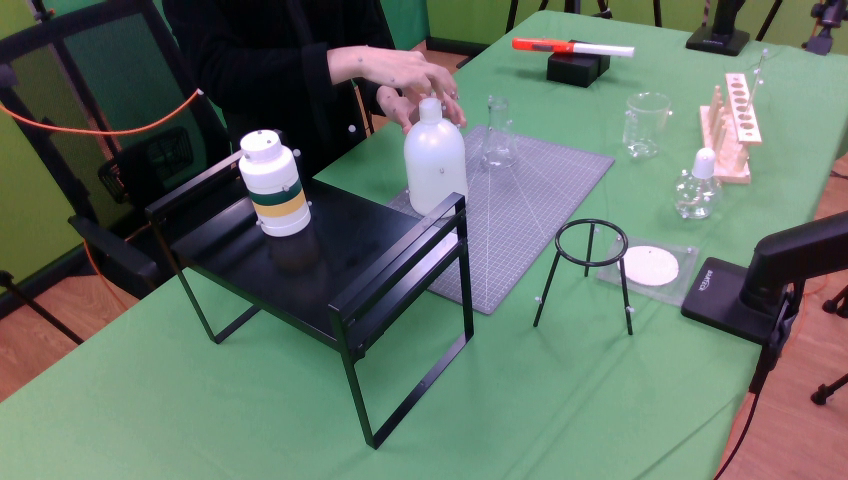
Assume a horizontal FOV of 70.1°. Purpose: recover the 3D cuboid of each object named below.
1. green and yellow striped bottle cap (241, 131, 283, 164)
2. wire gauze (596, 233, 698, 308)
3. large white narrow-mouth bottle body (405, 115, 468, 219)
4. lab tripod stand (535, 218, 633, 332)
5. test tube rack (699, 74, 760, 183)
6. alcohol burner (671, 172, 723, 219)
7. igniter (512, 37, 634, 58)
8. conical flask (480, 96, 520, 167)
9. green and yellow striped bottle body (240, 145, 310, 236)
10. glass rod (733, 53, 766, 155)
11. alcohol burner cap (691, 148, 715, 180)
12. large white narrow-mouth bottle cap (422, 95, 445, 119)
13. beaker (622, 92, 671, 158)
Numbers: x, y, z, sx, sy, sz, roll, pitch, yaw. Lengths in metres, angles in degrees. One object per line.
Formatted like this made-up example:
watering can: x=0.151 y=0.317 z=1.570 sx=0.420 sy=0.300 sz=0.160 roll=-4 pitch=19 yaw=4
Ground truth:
green and yellow striped bottle cap: x=-0.187 y=-0.107 z=0.695 sx=0.045 sy=0.020 sz=0.045 roll=-4 pitch=39 yaw=4
wire gauze: x=0.331 y=0.038 z=0.897 sx=0.124 sy=0.011 sz=0.121 roll=18 pitch=47 yaw=26
large white narrow-mouth bottle body: x=0.020 y=-0.136 z=0.998 sx=0.102 sy=0.195 sz=0.101 roll=-3 pitch=39 yaw=3
lab tripod stand: x=0.215 y=0.050 z=0.803 sx=0.148 sy=0.132 sz=0.147 roll=-4 pitch=42 yaw=4
test tube rack: x=0.547 y=-0.208 z=1.095 sx=0.066 sy=0.085 sz=0.242 roll=6 pitch=42 yaw=15
alcohol burner: x=0.434 y=-0.093 z=0.955 sx=0.078 sy=0.119 sz=0.077 roll=-3 pitch=43 yaw=3
igniter: x=0.328 y=-0.433 z=1.360 sx=0.275 sy=0.025 sz=0.057 roll=12 pitch=33 yaw=20
conical flask: x=0.138 y=-0.201 z=1.111 sx=0.075 sy=0.122 sz=0.075 roll=-4 pitch=40 yaw=4
green and yellow striped bottle body: x=-0.181 y=-0.068 z=0.729 sx=0.063 sy=0.120 sz=0.063 roll=-4 pitch=40 yaw=4
glass rod: x=0.540 y=-0.219 z=1.006 sx=0.008 sy=0.201 sz=0.008 roll=-5 pitch=45 yaw=6
alcohol burner cap: x=0.432 y=-0.120 z=0.930 sx=0.034 sy=0.048 sz=0.033 roll=-7 pitch=48 yaw=8
large white narrow-mouth bottle cap: x=0.014 y=-0.207 z=0.941 sx=0.038 sy=0.024 sz=0.037 roll=-3 pitch=39 yaw=3
beaker: x=0.402 y=-0.210 z=1.106 sx=0.074 sy=0.101 sz=0.083 roll=-9 pitch=40 yaw=-2
